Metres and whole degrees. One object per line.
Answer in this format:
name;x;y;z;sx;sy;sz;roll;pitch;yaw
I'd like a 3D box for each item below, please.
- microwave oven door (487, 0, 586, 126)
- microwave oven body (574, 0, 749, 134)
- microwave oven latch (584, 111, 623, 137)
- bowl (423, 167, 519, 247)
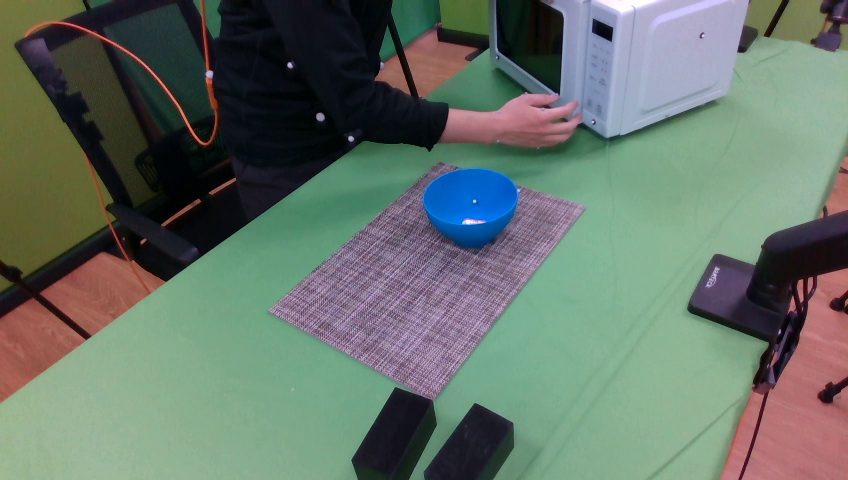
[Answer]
microwave oven door;0.223;-0.417;1.228;0.039;0.245;0.352;-20;42;-14
microwave oven body;0.382;-0.445;1.246;0.327;0.261;0.437;-22;42;-16
microwave oven latch;0.337;-0.222;1.142;0.030;0.029;0.078;-21;42;-14
bowl;0.075;-0.041;0.958;0.151;0.077;0.150;-4;41;4
